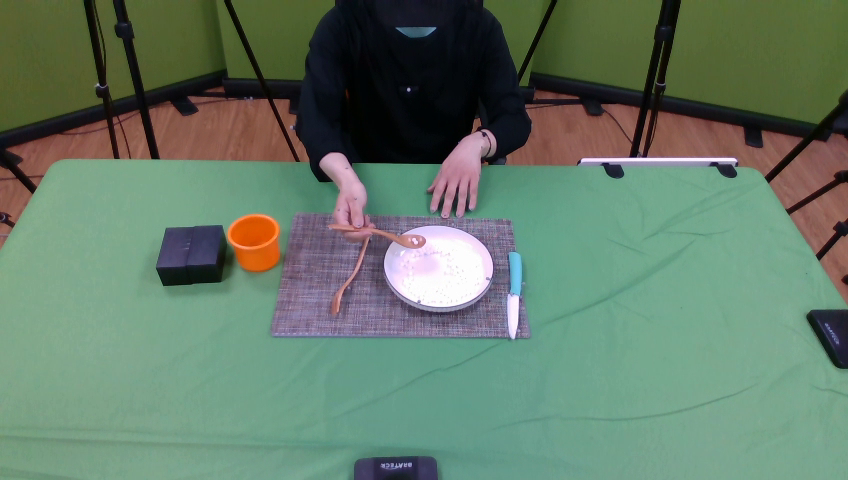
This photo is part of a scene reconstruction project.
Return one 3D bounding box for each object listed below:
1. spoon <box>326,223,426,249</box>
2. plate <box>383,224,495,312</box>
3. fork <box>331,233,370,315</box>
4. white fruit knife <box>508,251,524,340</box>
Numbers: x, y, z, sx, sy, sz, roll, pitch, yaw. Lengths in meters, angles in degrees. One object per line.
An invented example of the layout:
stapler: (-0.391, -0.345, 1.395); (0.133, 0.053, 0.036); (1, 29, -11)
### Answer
spoon: (-0.084, -0.012, 1.097); (0.194, 0.022, 0.041); (13, 35, -28)
plate: (0.026, 0.055, 1.128); (0.209, 0.038, 0.208); (2, 46, -2)
fork: (-0.133, 0.058, 1.126); (0.019, 0.028, 0.206); (40, 42, -16)
white fruit knife: (0.169, 0.098, 1.113); (0.027, 0.016, 0.206); (-13, 43, 23)
